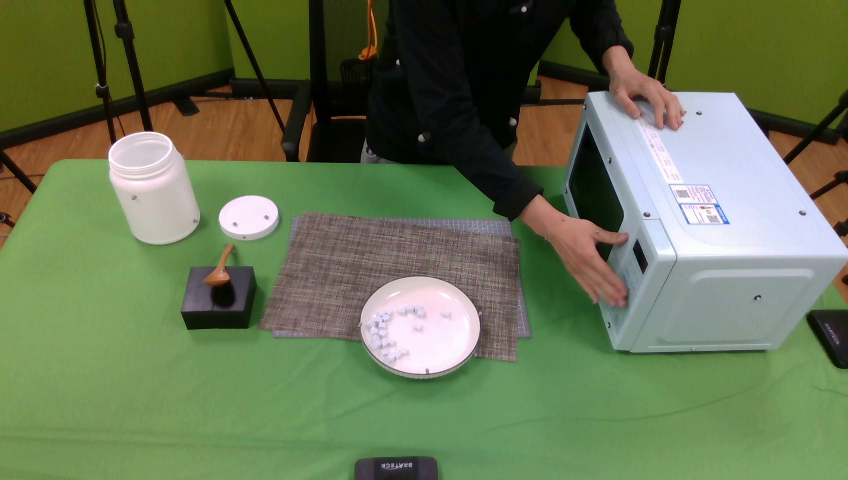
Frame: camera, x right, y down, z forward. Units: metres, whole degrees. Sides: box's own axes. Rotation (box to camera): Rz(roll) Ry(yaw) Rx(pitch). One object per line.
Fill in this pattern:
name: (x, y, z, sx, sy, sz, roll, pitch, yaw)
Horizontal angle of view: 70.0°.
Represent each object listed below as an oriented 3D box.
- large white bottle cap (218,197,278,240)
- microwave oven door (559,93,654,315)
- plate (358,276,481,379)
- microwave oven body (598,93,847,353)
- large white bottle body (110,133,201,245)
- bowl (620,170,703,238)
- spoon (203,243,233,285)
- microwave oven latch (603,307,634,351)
large white bottle cap: (-0.354, -0.045, 1.220, 0.115, 0.018, 0.114, 2, 45, -2)
microwave oven door: (0.328, -0.074, 1.123, 0.039, 0.245, 0.353, -1, 46, -5)
plate: (-0.009, 0.151, 1.038, 0.209, 0.038, 0.208, 2, 47, -2)
microwave oven body: (0.476, -0.041, 1.109, 0.326, 0.261, 0.438, -1, 45, -4)
large white bottle body: (-0.505, -0.097, 1.141, 0.131, 0.185, 0.130, 2, 46, -2)
bowl: (0.445, -0.057, 1.166, 0.151, 0.077, 0.150, 1, 46, -1)
spoon: (-0.360, 0.039, 1.087, 0.041, 0.022, 0.192, -5, 24, -7)
microwave oven latch: (0.333, 0.153, 1.044, 0.030, 0.029, 0.078, -1, 45, -4)
